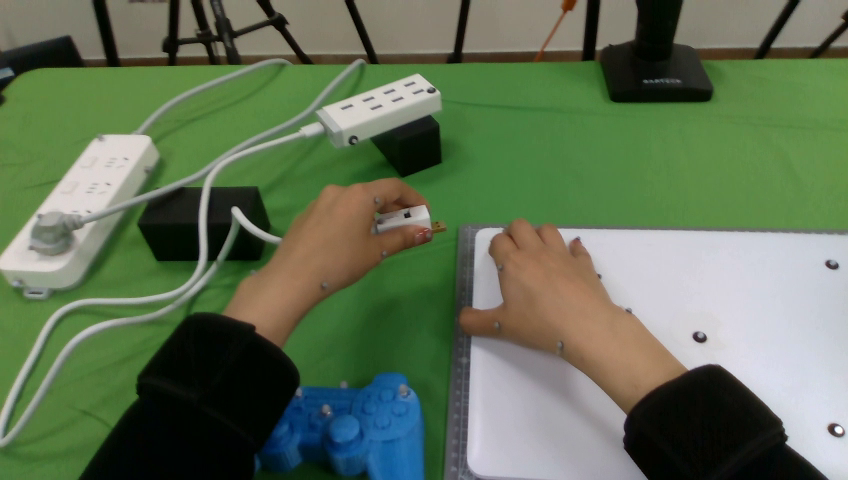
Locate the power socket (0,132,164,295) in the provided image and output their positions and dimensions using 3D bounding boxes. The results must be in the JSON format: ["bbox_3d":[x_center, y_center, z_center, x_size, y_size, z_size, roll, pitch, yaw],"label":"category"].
[{"bbox_3d":[-0.344,-0.040,0.626,0.072,0.033,0.224,4,46,6],"label":"power socket"}]

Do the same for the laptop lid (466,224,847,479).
[{"bbox_3d":[0.212,0.074,0.468,0.356,0.013,0.239,2,48,7],"label":"laptop lid"}]

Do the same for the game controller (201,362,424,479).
[{"bbox_3d":[-0.075,0.133,0.429,0.155,0.052,0.096,2,42,6],"label":"game controller"}]

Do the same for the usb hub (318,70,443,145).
[{"bbox_3d":[-0.045,-0.140,0.639,0.125,0.025,0.049,-25,50,-18],"label":"usb hub"}]

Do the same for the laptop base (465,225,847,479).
[{"bbox_3d":[0.213,0.081,0.479,0.354,0.023,0.233,1,49,5],"label":"laptop base"}]

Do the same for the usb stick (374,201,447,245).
[{"bbox_3d":[-0.010,-0.015,0.502,0.059,0.027,0.021,-9,35,-8],"label":"usb stick"}]

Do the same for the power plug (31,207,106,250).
[{"bbox_3d":[-0.324,-0.002,0.555,0.072,0.053,0.035,13,47,13],"label":"power plug"}]
